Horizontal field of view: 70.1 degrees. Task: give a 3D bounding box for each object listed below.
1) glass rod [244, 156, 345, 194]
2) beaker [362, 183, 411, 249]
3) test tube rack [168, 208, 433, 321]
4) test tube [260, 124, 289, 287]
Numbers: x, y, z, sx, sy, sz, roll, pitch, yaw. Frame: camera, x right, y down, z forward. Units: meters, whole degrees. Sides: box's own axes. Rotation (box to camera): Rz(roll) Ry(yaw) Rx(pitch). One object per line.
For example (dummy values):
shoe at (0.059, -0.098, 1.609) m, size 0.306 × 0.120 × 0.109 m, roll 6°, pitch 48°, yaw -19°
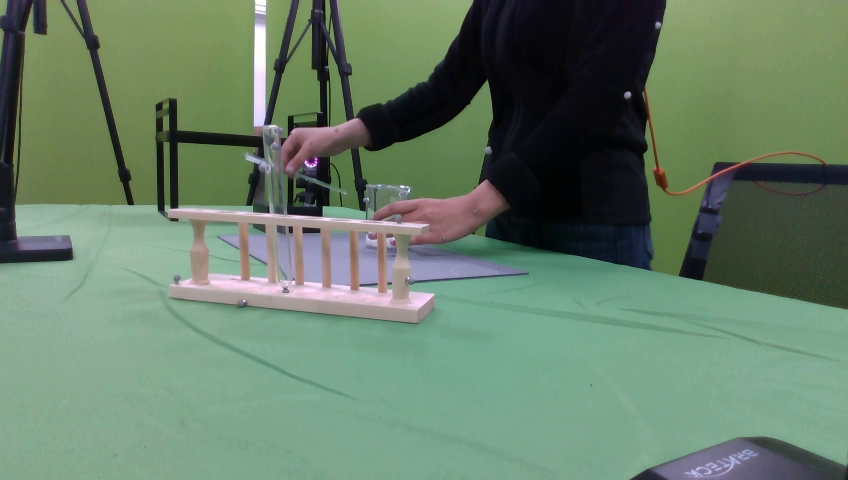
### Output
glass rod at (-0.240, -0.121, 1.138) m, size 0.201 × 0.008 × 0.008 m, roll 19°, pitch 0°, yaw -25°
beaker at (-0.057, -0.039, 0.956) m, size 0.083 × 0.100 × 0.074 m, roll 8°, pitch 10°, yaw 42°
test tube rack at (-0.115, 0.017, 0.574) m, size 0.242 × 0.085 × 0.067 m, roll 4°, pitch 8°, yaw 13°
test tube at (-0.138, -0.031, 0.556) m, size 0.017 × 0.150 × 0.017 m, roll -3°, pitch 6°, yaw 1°
